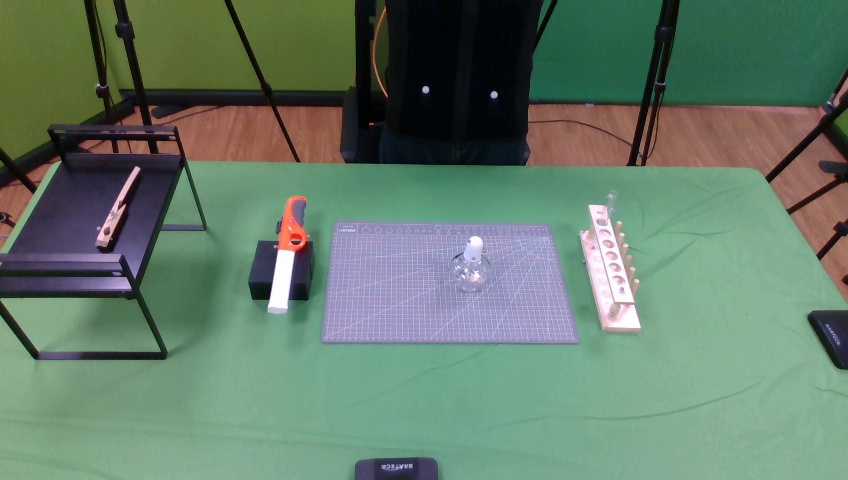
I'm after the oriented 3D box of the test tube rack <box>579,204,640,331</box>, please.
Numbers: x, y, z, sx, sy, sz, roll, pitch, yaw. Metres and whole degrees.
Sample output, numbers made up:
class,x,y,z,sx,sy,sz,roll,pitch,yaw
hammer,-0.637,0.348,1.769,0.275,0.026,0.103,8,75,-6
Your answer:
class,x,y,z,sx,sy,sz,roll,pitch,yaw
test tube rack,0.353,0.047,1.137,0.067,0.085,0.241,2,46,-2

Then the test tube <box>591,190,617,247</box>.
class,x,y,z,sx,sy,sz,roll,pitch,yaw
test tube,0.340,-0.038,1.149,0.017,0.151,0.017,1,50,-1

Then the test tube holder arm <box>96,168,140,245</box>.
class,x,y,z,sx,sy,sz,roll,pitch,yaw
test tube holder arm,-0.486,-0.058,0.968,0.013,0.015,0.177,27,37,-27

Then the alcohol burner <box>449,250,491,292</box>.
class,x,y,z,sx,sy,sz,roll,pitch,yaw
alcohol burner,0.086,0.038,1.101,0.078,0.119,0.077,3,45,-2

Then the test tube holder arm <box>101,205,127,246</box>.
class,x,y,z,sx,sy,sz,roll,pitch,yaw
test tube holder arm,-0.480,-0.024,0.938,0.010,0.015,0.087,28,37,-26

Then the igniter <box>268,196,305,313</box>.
class,x,y,z,sx,sy,sz,roll,pitch,yaw
igniter,-0.247,0.016,1.095,0.057,0.025,0.274,8,46,-12

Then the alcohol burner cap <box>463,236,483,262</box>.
class,x,y,z,sx,sy,sz,roll,pitch,yaw
alcohol burner cap,0.089,0.013,1.075,0.034,0.048,0.033,4,47,-4
